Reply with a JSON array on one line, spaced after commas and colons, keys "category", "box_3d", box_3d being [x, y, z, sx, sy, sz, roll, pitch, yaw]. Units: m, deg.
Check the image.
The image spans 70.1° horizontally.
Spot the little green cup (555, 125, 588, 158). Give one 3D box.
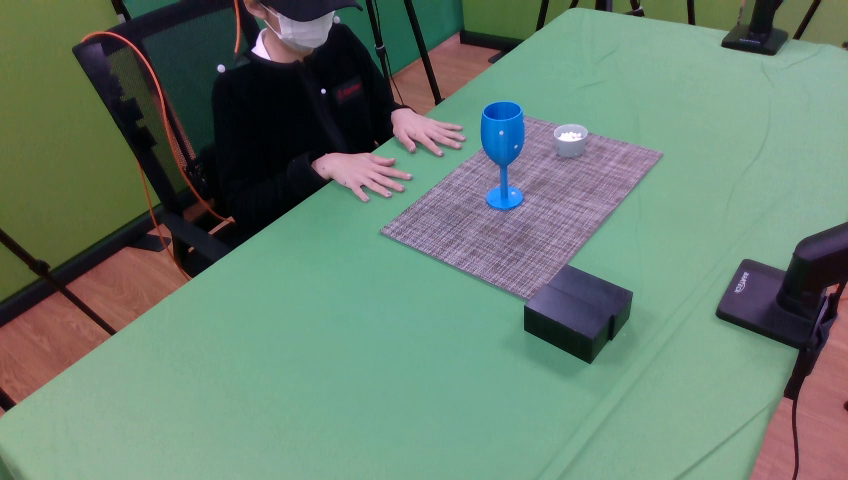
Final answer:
[{"category": "little green cup", "box_3d": [0.274, -0.184, 1.131, 0.061, 0.039, 0.061, -4, 41, 4]}]

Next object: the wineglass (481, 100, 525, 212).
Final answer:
[{"category": "wineglass", "box_3d": [0.131, -0.136, 0.992, 0.074, 0.173, 0.073, -5, 40, 4]}]
